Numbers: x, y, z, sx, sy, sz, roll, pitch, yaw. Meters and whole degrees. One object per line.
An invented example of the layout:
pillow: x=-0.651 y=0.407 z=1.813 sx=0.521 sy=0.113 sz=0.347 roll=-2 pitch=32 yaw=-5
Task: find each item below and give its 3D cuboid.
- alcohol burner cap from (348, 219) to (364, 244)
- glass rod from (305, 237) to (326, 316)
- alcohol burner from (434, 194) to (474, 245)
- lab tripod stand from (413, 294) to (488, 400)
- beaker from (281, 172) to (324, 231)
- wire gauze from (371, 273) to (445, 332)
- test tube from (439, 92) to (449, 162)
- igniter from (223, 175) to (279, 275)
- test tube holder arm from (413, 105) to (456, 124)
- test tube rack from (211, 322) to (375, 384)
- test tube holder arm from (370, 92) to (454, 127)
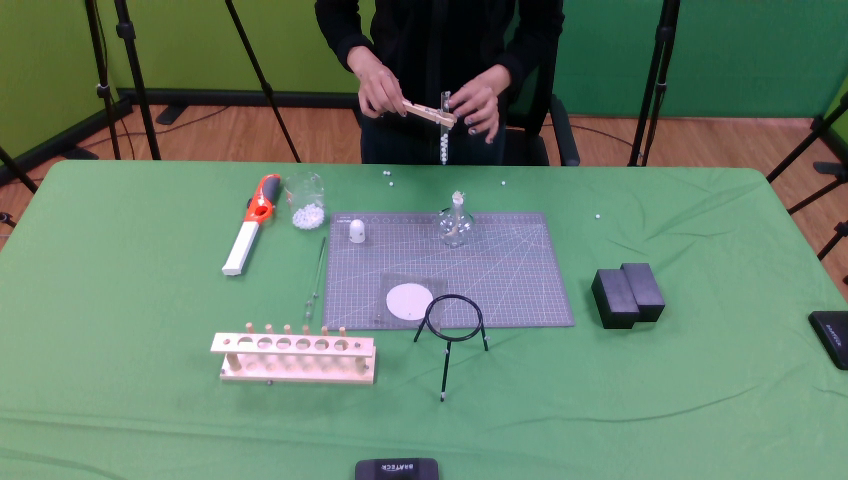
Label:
alcohol burner cap: x=-0.134 y=-0.019 z=1.190 sx=0.034 sy=0.048 sz=0.033 roll=2 pitch=46 yaw=-2
glass rod: x=-0.202 y=0.063 z=1.131 sx=0.008 sy=0.008 sz=0.198 roll=4 pitch=44 yaw=0
alcohol burner: x=0.061 y=-0.046 z=1.183 sx=0.078 sy=0.119 sz=0.077 roll=3 pitch=47 yaw=-3
lab tripod stand: x=0.044 y=0.159 z=0.972 sx=0.148 sy=0.132 sz=0.147 roll=2 pitch=44 yaw=-2
beaker: x=-0.234 y=-0.073 z=1.199 sx=0.084 sy=0.101 sz=0.074 roll=24 pitch=50 yaw=17
wire gauze: x=-0.028 y=0.108 z=1.100 sx=0.125 sy=0.011 sz=0.121 roll=8 pitch=45 yaw=4
test tube: x=0.037 y=-0.208 z=1.134 sx=0.017 sy=0.151 sz=0.017 roll=0 pitch=44 yaw=0
igniter: x=-0.341 y=-0.039 z=1.206 sx=0.057 sy=0.025 sz=0.275 roll=-1 pitch=45 yaw=9
test tube holder arm: x=0.018 y=-0.234 z=1.128 sx=0.087 sy=0.015 sz=0.010 roll=17 pitch=42 yaw=13
test tube rack: x=-0.203 y=0.176 z=0.969 sx=0.242 sy=0.085 sz=0.066 roll=3 pitch=46 yaw=-2
test tube holder arm: x=-0.025 y=-0.246 z=1.137 sx=0.178 sy=0.015 sz=0.013 roll=22 pitch=43 yaw=19
